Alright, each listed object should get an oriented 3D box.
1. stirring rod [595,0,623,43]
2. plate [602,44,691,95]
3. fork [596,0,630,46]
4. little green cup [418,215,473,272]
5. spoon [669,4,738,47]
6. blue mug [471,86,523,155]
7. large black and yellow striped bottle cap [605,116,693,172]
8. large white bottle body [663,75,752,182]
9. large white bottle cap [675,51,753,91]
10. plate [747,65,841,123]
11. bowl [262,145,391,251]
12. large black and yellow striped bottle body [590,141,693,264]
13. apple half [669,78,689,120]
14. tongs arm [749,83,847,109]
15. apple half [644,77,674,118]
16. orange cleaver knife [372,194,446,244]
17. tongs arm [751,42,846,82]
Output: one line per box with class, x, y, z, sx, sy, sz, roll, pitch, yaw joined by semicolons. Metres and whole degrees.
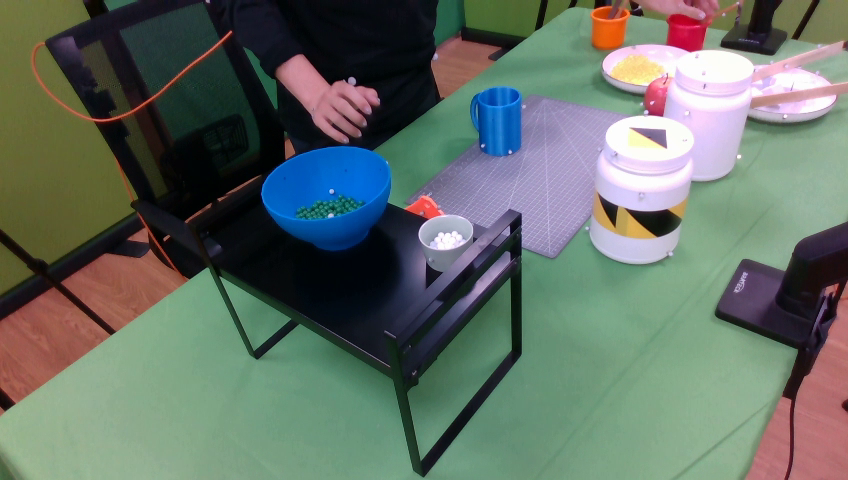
stirring rod;0.460;-0.556;1.459;0.014;0.006;0.176;30;93;23
plate;0.495;-0.366;1.317;0.209;0.038;0.208;-4;40;4
fork;0.481;-0.556;1.452;0.028;0.019;0.207;40;103;41
little green cup;0.026;0.005;0.678;0.061;0.039;0.061;-4;40;4
spoon;0.619;-0.477;1.347;0.042;0.193;0.021;-23;86;-19
blue mug;0.135;-0.235;1.163;0.082;0.106;0.115;-36;48;-29
large black and yellow striped bottle cap;0.309;-0.134;0.833;0.115;0.019;0.114;-5;40;5
large white bottle body;0.472;-0.207;1.022;0.130;0.185;0.130;-4;41;4
large white bottle cap;0.463;-0.271;0.967;0.115;0.018;0.114;-4;40;4
plate;0.694;-0.282;1.189;0.207;0.039;0.206;-4;40;4
bowl;-0.108;-0.041;0.723;0.151;0.077;0.150;-4;40;4
large black and yellow striped bottle body;0.317;-0.071;0.889;0.131;0.185;0.130;-4;41;4
apple half;0.498;-0.273;1.180;0.032;0.082;0.081;7;42;25
tongs arm;0.734;-0.280;1.133;0.388;0.028;0.028;-9;47;-5
apple half;0.463;-0.279;1.194;0.053;0.075;0.081;8;46;24
orange cleaver knife;-0.032;-0.026;0.965;0.210;0.077;0.012;-9;29;51
tongs arm;0.708;-0.331;1.193;0.386;0.026;0.050;-18;45;-16
